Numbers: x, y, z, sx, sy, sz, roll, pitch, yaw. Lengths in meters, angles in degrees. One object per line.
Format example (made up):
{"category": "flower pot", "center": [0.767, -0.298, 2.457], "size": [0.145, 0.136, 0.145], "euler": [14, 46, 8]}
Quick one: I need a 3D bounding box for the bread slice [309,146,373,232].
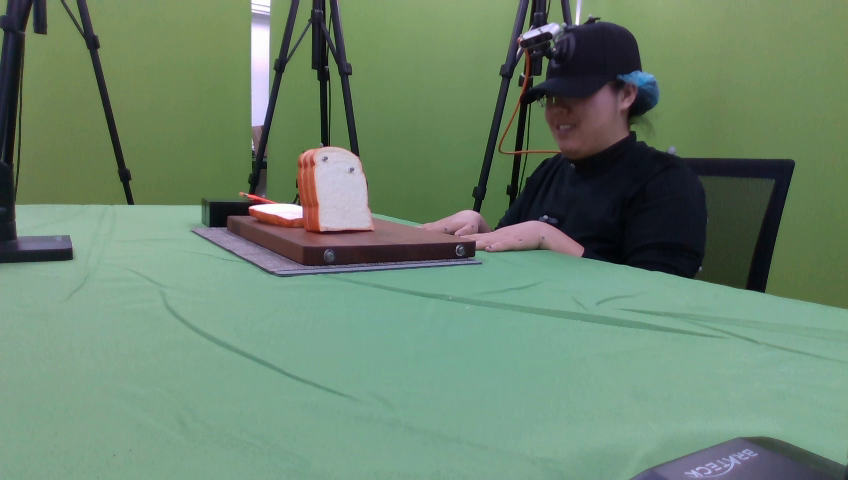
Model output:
{"category": "bread slice", "center": [-0.133, -0.077, 0.927], "size": [0.018, 0.134, 0.107], "euler": [-13, -4, 43]}

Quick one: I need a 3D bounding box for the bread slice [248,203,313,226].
{"category": "bread slice", "center": [-0.228, -0.043, 1.022], "size": [0.131, 0.019, 0.105], "euler": [14, 14, 37]}

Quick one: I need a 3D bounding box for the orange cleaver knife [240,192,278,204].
{"category": "orange cleaver knife", "center": [-0.268, -0.064, 1.235], "size": [0.212, 0.012, 0.077], "euler": [17, -2, -26]}
